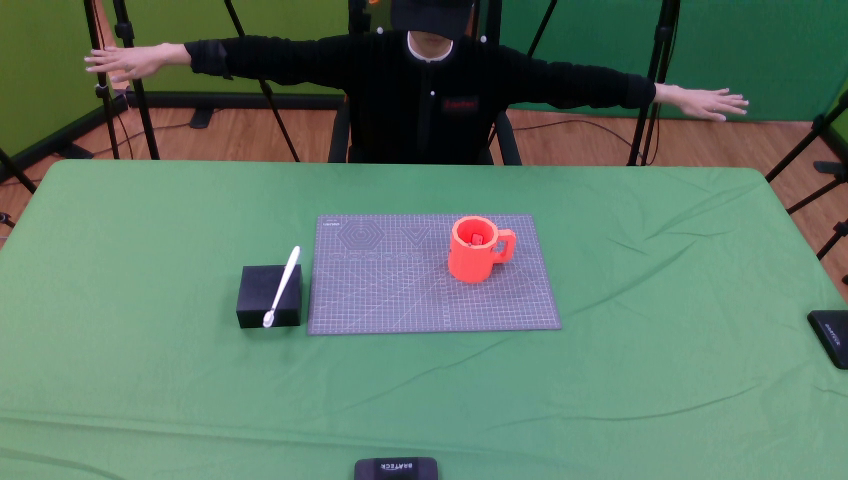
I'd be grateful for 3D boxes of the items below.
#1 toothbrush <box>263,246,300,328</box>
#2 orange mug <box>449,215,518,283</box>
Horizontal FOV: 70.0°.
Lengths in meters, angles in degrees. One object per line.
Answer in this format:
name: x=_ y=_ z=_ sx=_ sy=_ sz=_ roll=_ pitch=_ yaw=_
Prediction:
toothbrush: x=-0.243 y=0.074 z=1.042 sx=0.014 sy=0.017 sz=0.181 roll=5 pitch=45 yaw=6
orange mug: x=0.110 y=0.015 z=1.130 sx=0.126 sy=0.101 sz=0.083 roll=-8 pitch=47 yaw=-6
